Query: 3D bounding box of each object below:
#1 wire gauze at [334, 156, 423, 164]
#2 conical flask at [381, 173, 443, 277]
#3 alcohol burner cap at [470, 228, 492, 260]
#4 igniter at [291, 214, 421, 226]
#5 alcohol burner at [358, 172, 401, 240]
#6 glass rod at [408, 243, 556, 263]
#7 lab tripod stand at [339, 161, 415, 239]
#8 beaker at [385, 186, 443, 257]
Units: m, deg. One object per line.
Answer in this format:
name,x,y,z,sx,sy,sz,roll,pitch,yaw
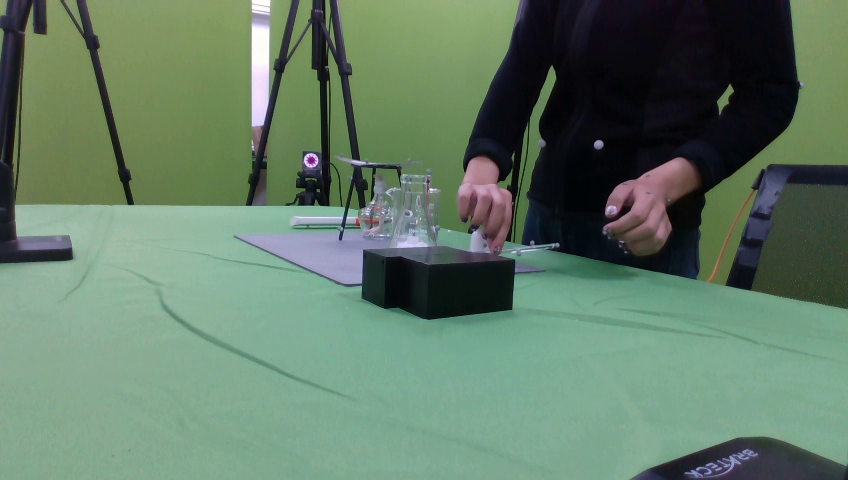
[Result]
wire gauze,-0.081,-0.137,1.051,0.122,0.011,0.124,0,8,-30
conical flask,-0.012,-0.020,0.731,0.075,0.122,0.075,2,7,0
alcohol burner cap,0.083,0.006,0.876,0.034,0.048,0.034,-2,4,0
igniter,-0.135,-0.041,1.250,0.278,0.025,0.057,-1,-3,-28
alcohol burner,-0.077,-0.061,1.065,0.078,0.119,0.078,4,9,0
glass rod,0.077,0.017,0.811,0.200,0.008,0.008,-6,6,4
lab tripod stand,-0.082,-0.070,1.059,0.148,0.131,0.148,4,6,0
beaker,-0.015,-0.028,0.886,0.084,0.100,0.074,0,7,-9
